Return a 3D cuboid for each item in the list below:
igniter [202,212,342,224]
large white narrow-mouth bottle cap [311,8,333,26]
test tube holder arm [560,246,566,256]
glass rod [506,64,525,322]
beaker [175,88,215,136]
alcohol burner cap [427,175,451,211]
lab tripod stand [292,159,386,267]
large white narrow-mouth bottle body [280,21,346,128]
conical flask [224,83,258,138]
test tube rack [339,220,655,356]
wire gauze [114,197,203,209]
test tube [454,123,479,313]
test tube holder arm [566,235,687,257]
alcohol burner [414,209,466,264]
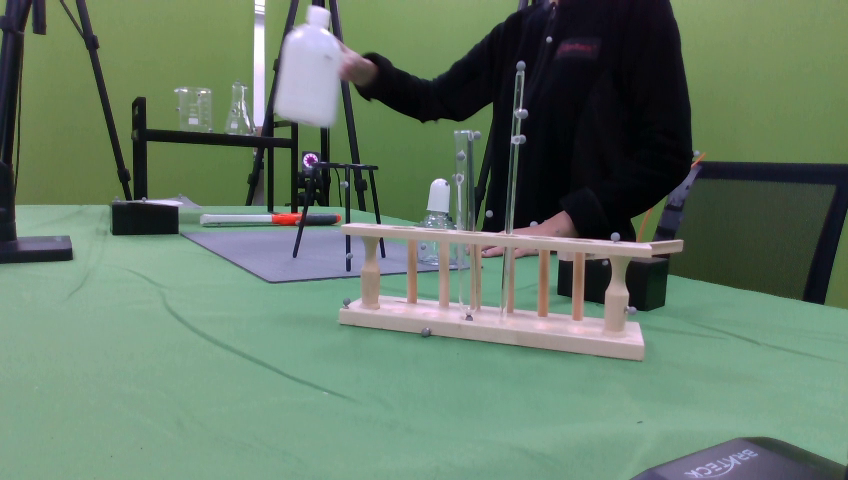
[{"bbox_3d":[-0.298,-0.044,1.216,0.278,0.025,0.057,-2,-2,-33],"label":"igniter"},{"bbox_3d":[-0.176,-0.385,1.050,0.038,0.024,0.037,10,6,-1],"label":"large white narrow-mouth bottle cap"},{"bbox_3d":[0.173,0.007,0.612,0.088,0.015,0.010,-3,10,-30],"label":"test tube holder arm"},{"bbox_3d":[0.069,-0.030,0.458,0.008,0.199,0.008,0,15,0],"label":"glass rod"},{"bbox_3d":[-0.511,-0.285,1.353,0.084,0.100,0.073,-2,8,-25],"label":"beaker"},{"bbox_3d":[0.023,-0.064,0.822,0.034,0.048,0.034,7,5,0],"label":"alcohol burner cap"},{"bbox_3d":[-0.105,-0.039,0.798,0.148,0.131,0.148,2,5,0],"label":"lab tripod stand"},{"bbox_3d":[-0.190,-0.301,1.059,0.102,0.194,0.102,10,6,-1],"label":"large white narrow-mouth bottle body"},{"bbox_3d":[-0.422,-0.299,1.395,0.075,0.122,0.075,2,7,0],"label":"conical flask"},{"bbox_3d":[0.056,0.032,0.495,0.242,0.085,0.067,4,7,15],"label":"test tube rack"},{"bbox_3d":[-0.447,-0.062,1.015,0.126,0.011,0.121,-2,8,-31],"label":"wire gauze"},{"bbox_3d":[0.034,-0.016,0.477,0.017,0.150,0.017,-2,9,1],"label":"test tube"},{"bbox_3d":[0.215,0.006,0.630,0.179,0.015,0.013,-3,10,-30],"label":"test tube holder arm"},{"bbox_3d":[0.021,-0.028,0.826,0.078,0.119,0.078,0,6,0],"label":"alcohol burner"}]
